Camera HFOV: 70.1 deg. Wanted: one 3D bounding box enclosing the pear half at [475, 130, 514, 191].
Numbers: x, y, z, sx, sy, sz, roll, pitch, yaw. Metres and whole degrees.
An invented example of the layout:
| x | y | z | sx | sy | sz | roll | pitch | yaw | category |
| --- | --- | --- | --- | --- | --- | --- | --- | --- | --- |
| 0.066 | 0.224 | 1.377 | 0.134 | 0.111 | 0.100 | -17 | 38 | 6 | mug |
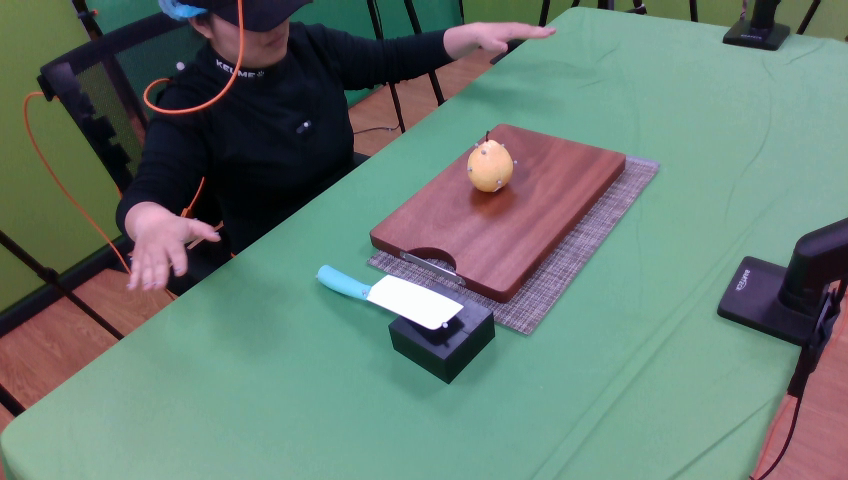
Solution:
| x | y | z | sx | sy | sz | roll | pitch | yaw | category |
| --- | --- | --- | --- | --- | --- | --- | --- | --- | --- |
| 0.119 | -0.142 | 1.020 | 0.076 | 0.110 | 0.056 | 26 | 51 | 30 | pear half |

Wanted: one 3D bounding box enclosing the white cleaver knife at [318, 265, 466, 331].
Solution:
| x | y | z | sx | sy | sz | roll | pitch | yaw | category |
| --- | --- | --- | --- | --- | --- | --- | --- | --- | --- |
| -0.056 | 0.075 | 0.871 | 0.284 | 0.021 | 0.066 | 17 | 42 | 43 | white cleaver knife |

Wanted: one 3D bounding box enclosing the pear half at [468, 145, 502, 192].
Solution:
| x | y | z | sx | sy | sz | roll | pitch | yaw | category |
| --- | --- | --- | --- | --- | --- | --- | --- | --- | --- |
| 0.097 | -0.116 | 1.007 | 0.070 | 0.088 | 0.031 | 27 | 52 | 26 | pear half |
